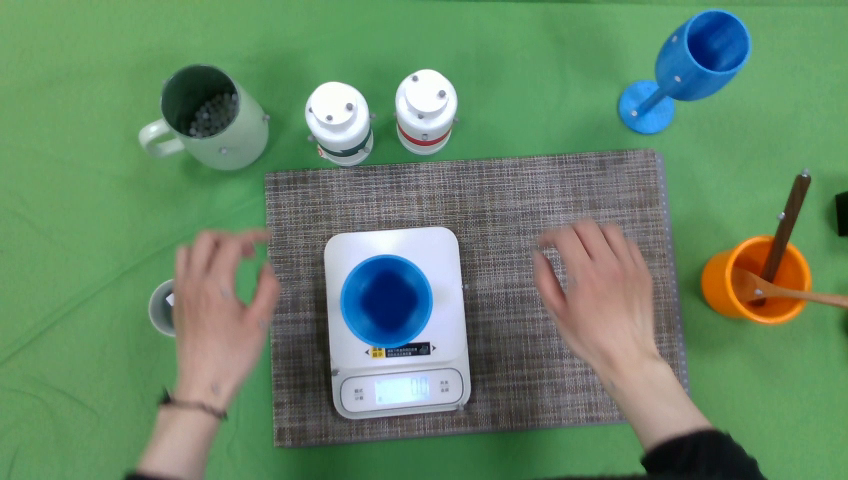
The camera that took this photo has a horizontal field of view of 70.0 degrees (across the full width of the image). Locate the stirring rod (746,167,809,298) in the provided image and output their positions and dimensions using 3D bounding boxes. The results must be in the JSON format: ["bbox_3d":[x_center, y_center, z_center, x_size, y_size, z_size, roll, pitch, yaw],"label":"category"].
[{"bbox_3d":[0.362,-0.001,0.626,0.014,0.178,0.005,3,43,11],"label":"stirring rod"}]

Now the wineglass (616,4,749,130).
[{"bbox_3d":[0.259,-0.171,0.627,0.074,0.172,0.073,0,83,-1],"label":"wineglass"}]

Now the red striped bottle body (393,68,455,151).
[{"bbox_3d":[-0.001,-0.140,0.640,0.063,0.120,0.063,0,83,-2],"label":"red striped bottle body"}]

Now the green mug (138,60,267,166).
[{"bbox_3d":[-0.235,-0.124,0.636,0.125,0.105,0.092,-26,85,-4],"label":"green mug"}]

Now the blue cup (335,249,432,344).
[{"bbox_3d":[-0.037,0.055,0.593,0.093,0.100,0.092,0,86,-3],"label":"blue cup"}]

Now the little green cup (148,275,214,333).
[{"bbox_3d":[-0.257,0.068,0.648,0.061,0.038,0.061,0,85,-3],"label":"little green cup"}]

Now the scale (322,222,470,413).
[{"bbox_3d":[-0.031,0.083,0.655,0.149,0.031,0.200,-4,85,-3],"label":"scale"}]

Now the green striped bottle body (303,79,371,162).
[{"bbox_3d":[-0.090,-0.127,0.635,0.063,0.119,0.063,0,83,-2],"label":"green striped bottle body"}]

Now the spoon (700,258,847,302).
[{"bbox_3d":[0.385,0.050,0.621,0.022,0.192,0.041,10,90,-44],"label":"spoon"}]

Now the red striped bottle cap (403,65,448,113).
[{"bbox_3d":[0.001,-0.147,0.588,0.044,0.018,0.044,0,84,-3],"label":"red striped bottle cap"}]

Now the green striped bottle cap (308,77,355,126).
[{"bbox_3d":[-0.089,-0.133,0.583,0.044,0.020,0.044,0,83,-2],"label":"green striped bottle cap"}]
